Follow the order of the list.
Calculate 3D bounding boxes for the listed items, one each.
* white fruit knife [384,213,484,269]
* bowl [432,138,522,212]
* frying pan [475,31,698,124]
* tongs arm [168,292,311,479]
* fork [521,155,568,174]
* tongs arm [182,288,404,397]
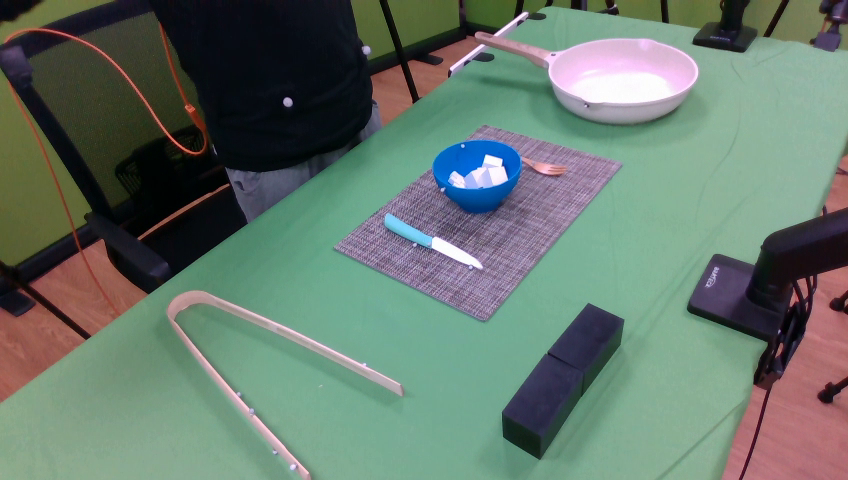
[{"bbox_3d":[0.011,0.002,0.962,0.206,0.016,0.027,26,61,31],"label":"white fruit knife"},{"bbox_3d":[0.091,-0.100,1.021,0.151,0.077,0.150,-4,41,4],"label":"bowl"},{"bbox_3d":[0.320,-0.371,1.290,0.485,0.103,0.307,28,50,23],"label":"frying pan"},{"bbox_3d":[-0.244,0.175,0.787,0.381,0.026,0.051,30,51,36],"label":"tongs arm"},{"bbox_3d":[0.168,-0.152,1.117,0.206,0.019,0.028,22,57,27],"label":"fork"},{"bbox_3d":[-0.191,0.134,0.833,0.385,0.028,0.028,18,49,26],"label":"tongs arm"}]
